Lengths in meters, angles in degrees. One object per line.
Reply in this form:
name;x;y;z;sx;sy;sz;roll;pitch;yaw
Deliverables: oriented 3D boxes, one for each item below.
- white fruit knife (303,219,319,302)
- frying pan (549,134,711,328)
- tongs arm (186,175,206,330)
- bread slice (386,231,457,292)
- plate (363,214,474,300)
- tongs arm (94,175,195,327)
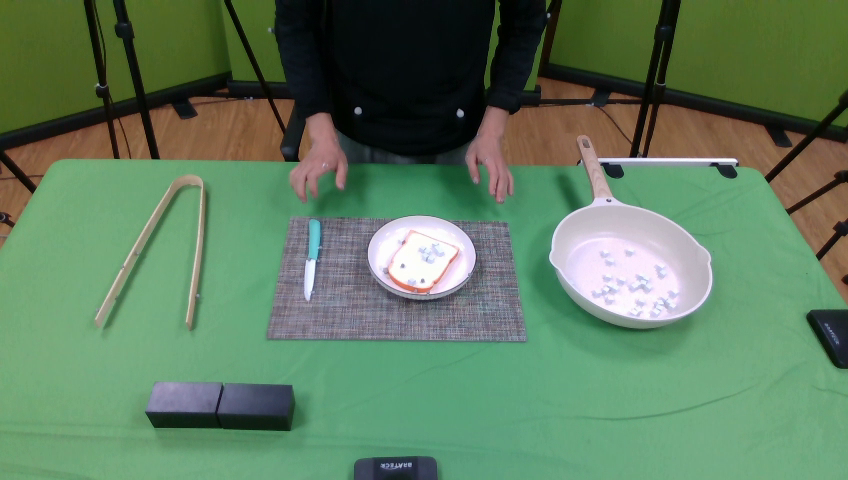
white fruit knife;-0.216;0.034;1.148;0.027;0.016;0.206;-20;46;17
frying pan;0.372;-0.035;1.203;0.307;0.103;0.484;-1;55;-6
tongs arm;-0.436;0.009;1.151;0.028;0.028;0.385;-7;47;-8
bread slice;-0.007;0.043;1.142;0.107;0.018;0.134;18;46;13
plate;-0.010;0.036;1.146;0.208;0.039;0.206;2;46;-2
tongs arm;-0.516;0.006;1.142;0.051;0.026;0.382;4;45;-2
